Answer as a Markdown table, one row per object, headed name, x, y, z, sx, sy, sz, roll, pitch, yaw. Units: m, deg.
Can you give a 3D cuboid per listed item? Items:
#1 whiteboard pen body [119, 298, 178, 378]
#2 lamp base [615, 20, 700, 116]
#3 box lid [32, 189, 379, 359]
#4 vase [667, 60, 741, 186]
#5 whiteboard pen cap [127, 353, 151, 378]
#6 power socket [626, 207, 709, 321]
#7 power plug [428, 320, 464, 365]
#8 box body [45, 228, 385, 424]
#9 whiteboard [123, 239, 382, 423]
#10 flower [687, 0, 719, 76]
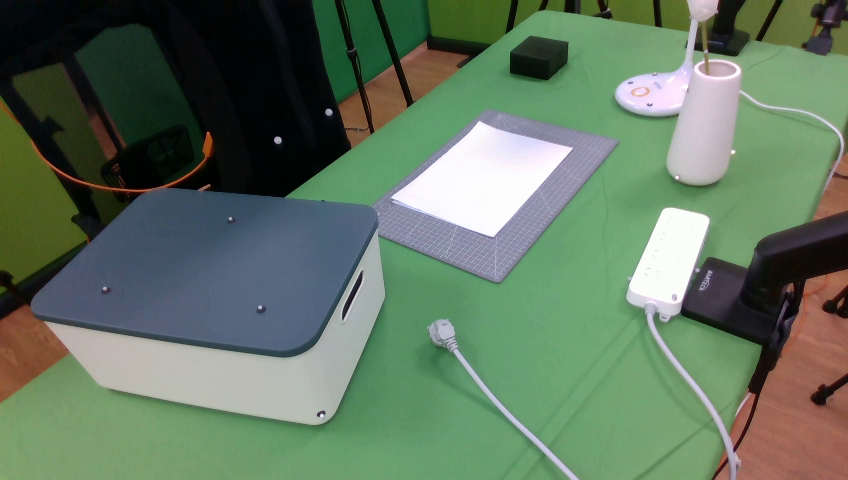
| name | x | y | z | sx | sy | sz | roll | pitch | yaw |
| --- | --- | --- | --- | --- | --- | --- | --- | --- | --- |
| whiteboard pen body | -0.396 | 0.139 | 0.869 | 0.017 | 0.017 | 0.140 | 6 | 46 | 15 |
| lamp base | 0.484 | -0.364 | 1.211 | 0.180 | 0.181 | 0.159 | -15 | 41 | -14 |
| box lid | -0.260 | 0.025 | 0.758 | 0.370 | 0.015 | 0.263 | 5 | 41 | 14 |
| vase | 0.463 | -0.189 | 0.994 | 0.098 | 0.201 | 0.097 | -4 | 40 | 4 |
| whiteboard pen cap | -0.385 | 0.170 | 0.819 | 0.018 | 0.018 | 0.033 | 7 | 41 | 16 |
| power socket | 0.360 | 0.026 | 0.886 | 0.072 | 0.033 | 0.227 | 17 | 46 | 27 |
| power plug | 0.027 | 0.139 | 0.796 | 0.035 | 0.053 | 0.072 | -8 | 61 | -5 |
| box body | -0.254 | 0.081 | 0.807 | 0.363 | 0.161 | 0.253 | 5 | 42 | 14 |
| whiteboard | -0.242 | 0.094 | 0.809 | 0.304 | 0.144 | 0.216 | 5 | 45 | 13 |
| flower | 0.436 | -0.242 | 0.934 | 0.038 | 0.364 | 0.043 | -24 | 49 | 8 |
